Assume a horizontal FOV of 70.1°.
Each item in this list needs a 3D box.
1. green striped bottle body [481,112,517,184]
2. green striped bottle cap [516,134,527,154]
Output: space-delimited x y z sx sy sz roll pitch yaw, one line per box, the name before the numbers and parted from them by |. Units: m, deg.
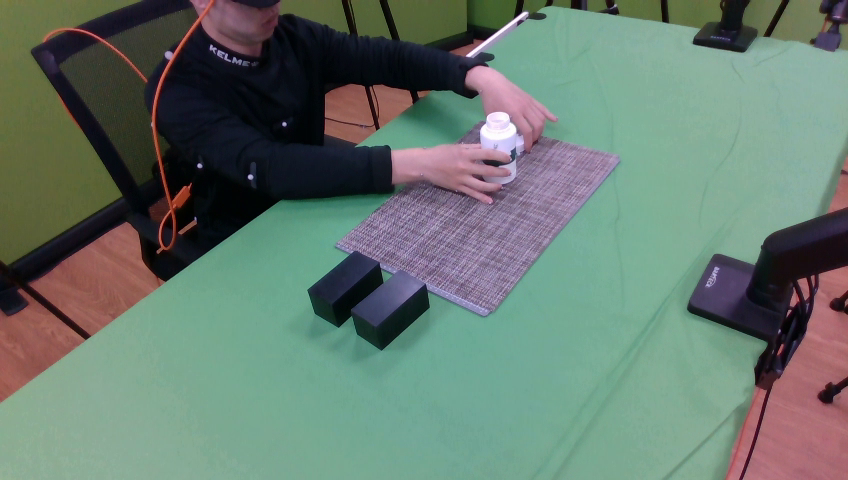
green striped bottle body | 0.131 -0.162 1.057 0.063 0.120 0.063 -3 42 4
green striped bottle cap | 0.175 -0.184 1.158 0.044 0.020 0.044 -7 47 8
